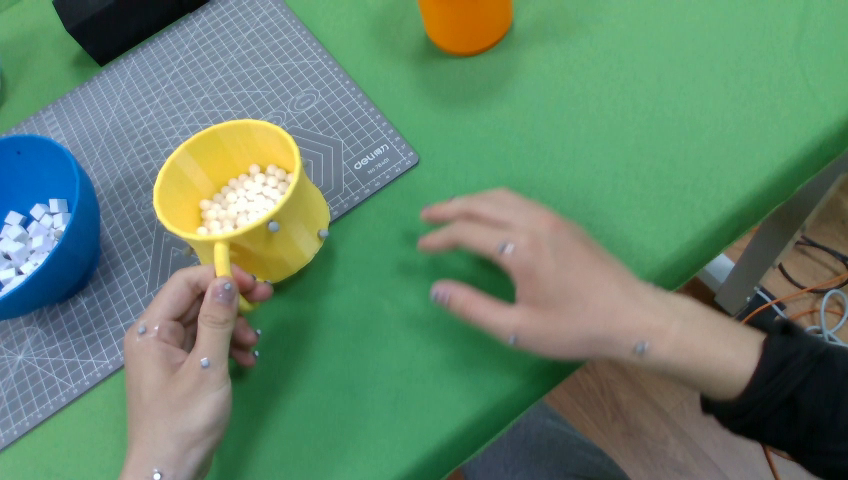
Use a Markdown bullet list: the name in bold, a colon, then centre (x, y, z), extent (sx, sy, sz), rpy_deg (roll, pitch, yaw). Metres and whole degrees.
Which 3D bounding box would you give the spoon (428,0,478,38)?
- **spoon**: centre (0.055, -0.249, 0.474), extent (0.022, 0.194, 0.041), rpy_deg (-15, 54, -48)

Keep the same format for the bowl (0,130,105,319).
- **bowl**: centre (-0.306, 0.000, 0.467), extent (0.151, 0.077, 0.150), rpy_deg (-5, 64, 10)

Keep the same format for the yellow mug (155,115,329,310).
- **yellow mug**: centre (-0.122, -0.015, 0.413), extent (0.100, 0.064, 0.129), rpy_deg (-10, 59, 5)
